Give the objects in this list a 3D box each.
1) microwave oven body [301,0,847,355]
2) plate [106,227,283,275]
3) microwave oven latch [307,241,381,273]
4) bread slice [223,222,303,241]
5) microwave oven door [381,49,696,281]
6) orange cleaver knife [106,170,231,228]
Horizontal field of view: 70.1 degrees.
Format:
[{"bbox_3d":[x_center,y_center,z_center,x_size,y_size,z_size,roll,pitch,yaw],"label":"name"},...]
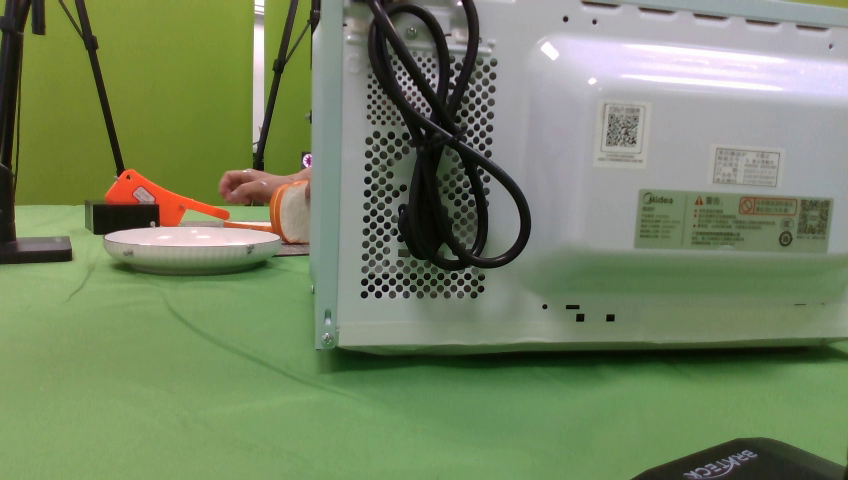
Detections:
[{"bbox_3d":[0.120,-0.053,0.535,0.443,0.260,0.325,2,7,-11],"label":"microwave oven body"},{"bbox_3d":[-0.288,0.013,0.772,0.208,0.039,0.207,2,7,0],"label":"plate"},{"bbox_3d":[-0.086,0.018,0.656,0.079,0.029,0.030,2,7,-9],"label":"microwave oven latch"},{"bbox_3d":[-0.274,-0.013,1.041,0.135,0.018,0.106,8,-4,-42],"label":"bread slice"},{"bbox_3d":[0.135,-0.077,0.685,0.357,0.243,0.039,1,8,-12],"label":"microwave oven door"},{"bbox_3d":[-0.458,-0.060,1.097,0.212,0.077,0.012,23,-4,-38],"label":"orange cleaver knife"}]
